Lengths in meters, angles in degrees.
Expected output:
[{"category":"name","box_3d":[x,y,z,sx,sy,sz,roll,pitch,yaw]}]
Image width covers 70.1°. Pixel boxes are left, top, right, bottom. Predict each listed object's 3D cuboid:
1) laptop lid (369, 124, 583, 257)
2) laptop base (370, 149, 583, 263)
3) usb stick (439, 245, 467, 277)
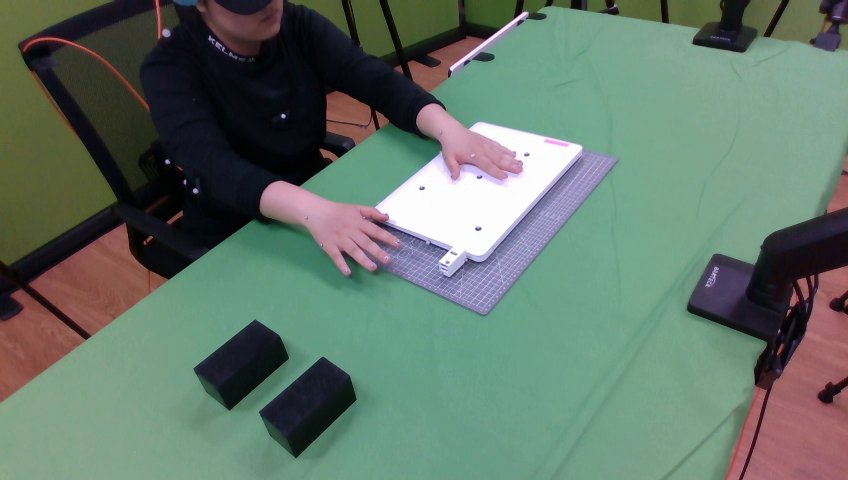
[{"category":"laptop lid","box_3d":[0.098,-0.106,1.065,0.239,0.013,0.358,22,48,33]},{"category":"laptop base","box_3d":[0.101,-0.097,1.071,0.233,0.023,0.355,19,47,32]},{"category":"usb stick","box_3d":[0.048,0.028,0.912,0.021,0.027,0.059,24,46,31]}]
